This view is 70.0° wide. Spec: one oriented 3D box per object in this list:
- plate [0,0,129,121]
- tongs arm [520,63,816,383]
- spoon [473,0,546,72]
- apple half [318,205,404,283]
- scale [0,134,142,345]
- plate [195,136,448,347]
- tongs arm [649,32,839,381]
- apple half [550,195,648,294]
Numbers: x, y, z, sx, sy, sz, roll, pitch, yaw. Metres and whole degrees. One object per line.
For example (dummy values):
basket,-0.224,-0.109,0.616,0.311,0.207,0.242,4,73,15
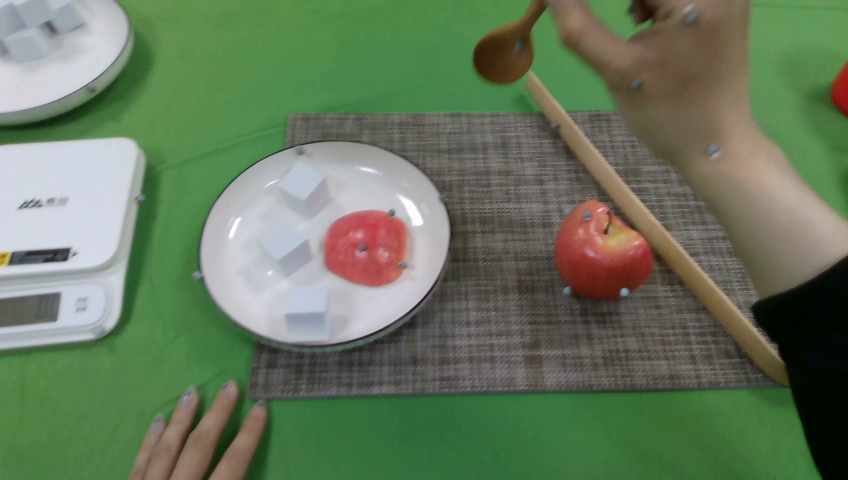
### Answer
plate,-0.418,-0.199,0.643,0.208,0.039,0.205,1,57,0
tongs arm,0.195,-0.035,0.551,0.028,0.028,0.383,-21,60,-19
spoon,0.065,-0.139,0.338,0.042,0.193,0.021,18,83,-7
apple half,-0.054,-0.004,0.514,0.081,0.033,0.080,2,58,-3
scale,-0.331,-0.007,0.525,0.149,0.032,0.199,-5,58,-4
plate,-0.084,-0.001,0.517,0.209,0.038,0.207,1,57,-1
tongs arm,0.274,-0.057,0.565,0.051,0.027,0.381,-11,59,-9
apple half,0.133,0.011,0.493,0.053,0.075,0.080,-36,68,-17
